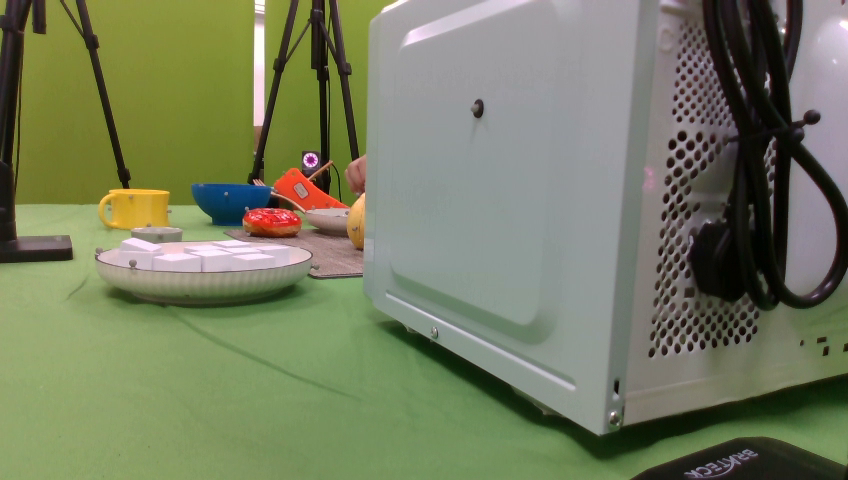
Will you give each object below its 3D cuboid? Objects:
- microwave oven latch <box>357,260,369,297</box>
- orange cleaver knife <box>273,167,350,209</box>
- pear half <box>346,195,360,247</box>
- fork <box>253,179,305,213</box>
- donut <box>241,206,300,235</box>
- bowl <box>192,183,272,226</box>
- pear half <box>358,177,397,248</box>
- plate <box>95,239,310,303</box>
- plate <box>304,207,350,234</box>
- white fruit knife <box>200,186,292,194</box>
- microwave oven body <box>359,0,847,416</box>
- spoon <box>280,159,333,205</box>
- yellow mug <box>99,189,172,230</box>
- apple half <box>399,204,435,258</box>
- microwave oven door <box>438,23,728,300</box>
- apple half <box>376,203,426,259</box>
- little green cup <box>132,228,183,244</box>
[{"bbox_3d":[-0.019,0.033,0.531,0.079,0.029,0.030,-1,7,-27],"label":"microwave oven latch"},{"bbox_3d":[-0.237,-0.087,1.358,0.211,0.077,0.012,32,4,-3],"label":"orange cleaver knife"},{"bbox_3d":[-0.104,-0.033,0.925,0.031,0.088,0.070,2,13,-1],"label":"pear half"},{"bbox_3d":[-0.294,-0.084,1.293,0.206,0.018,0.028,29,13,26],"label":"fork"},{"bbox_3d":[-0.263,-0.032,1.039,0.099,0.048,0.099,4,10,0],"label":"donut"},{"bbox_3d":[-0.381,-0.071,1.202,0.151,0.077,0.151,3,7,0],"label":"bowl"},{"bbox_3d":[-0.068,-0.041,0.922,0.056,0.110,0.076,3,12,-1],"label":"pear half"},{"bbox_3d":[-0.224,0.031,0.629,0.208,0.039,0.207,2,7,0],"label":"plate"},{"bbox_3d":[-0.123,-0.037,1.149,0.209,0.038,0.209,2,7,0],"label":"plate"},{"bbox_3d":[-0.399,-0.111,1.368,0.208,0.016,0.027,-4,-19,-29],"label":"white fruit knife"},{"bbox_3d":[0.211,-0.047,0.475,0.444,0.260,0.324,-1,7,-28],"label":"microwave oven body"},{"bbox_3d":[-0.316,-0.158,1.639,0.194,0.022,0.041,-49,32,-20],"label":"spoon"},{"bbox_3d":[-0.518,-0.055,1.080,0.099,0.064,0.131,6,9,26],"label":"yellow mug"},{"bbox_3d":[-0.005,-0.013,0.859,0.033,0.081,0.081,-5,10,-31],"label":"apple half"},{"bbox_3d":[0.181,-0.072,0.621,0.358,0.243,0.039,-2,8,-29],"label":"microwave oven door"},{"bbox_3d":[-0.038,-0.013,0.838,0.053,0.074,0.080,-4,19,-31],"label":"apple half"},{"bbox_3d":[-0.342,0.006,0.779,0.061,0.038,0.061,2,8,0],"label":"little green cup"}]
